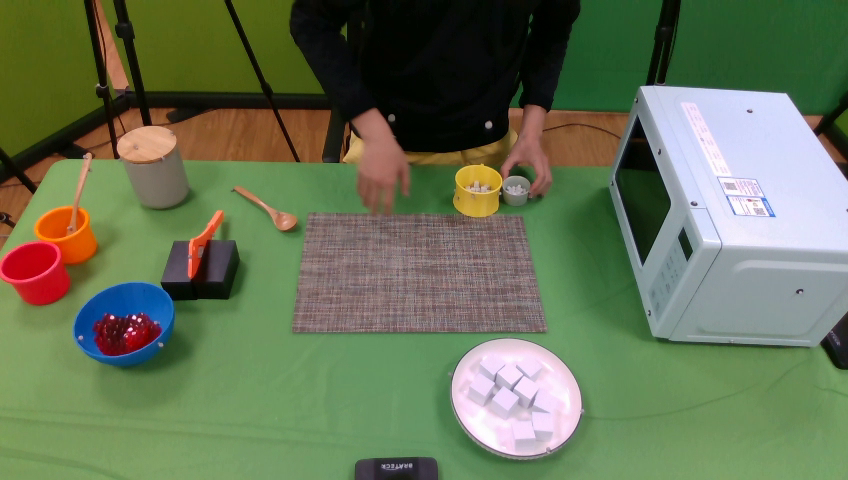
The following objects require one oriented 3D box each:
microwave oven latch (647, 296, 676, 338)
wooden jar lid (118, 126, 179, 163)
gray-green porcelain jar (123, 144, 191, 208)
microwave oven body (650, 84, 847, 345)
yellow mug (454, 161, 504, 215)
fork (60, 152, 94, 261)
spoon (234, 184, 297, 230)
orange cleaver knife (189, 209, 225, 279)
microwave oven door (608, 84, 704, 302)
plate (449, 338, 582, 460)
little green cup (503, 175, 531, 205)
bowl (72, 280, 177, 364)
[{"bbox_3d":[0.413,0.133,1.060,0.030,0.029,0.078,4,46,1],"label":"microwave oven latch"},{"bbox_3d":[-0.528,-0.181,1.167,0.108,0.021,0.107,4,48,-4],"label":"wooden jar lid"},{"bbox_3d":[-0.531,-0.137,1.213,0.106,0.127,0.105,2,47,-2],"label":"gray-green porcelain jar"},{"bbox_3d":[0.569,-0.054,1.116,0.326,0.261,0.439,2,46,-1],"label":"microwave oven body"},{"bbox_3d":[0.117,-0.119,1.283,0.100,0.064,0.130,9,44,5],"label":"yellow mug"},{"bbox_3d":[-0.638,-0.063,1.120,0.028,0.018,0.207,12,90,7],"label":"fork"},{"bbox_3d":[-0.327,-0.073,1.239,0.193,0.022,0.041,34,70,25],"label":"spoon"},{"bbox_3d":[-0.400,0.002,1.122,0.012,0.077,0.210,4,23,-4],"label":"orange cleaver knife"},{"bbox_3d":[0.424,-0.096,1.138,0.039,0.245,0.353,3,46,-1],"label":"microwave oven door"},{"bbox_3d":[0.141,0.251,0.956,0.208,0.039,0.206,2,46,-2],"label":"plate"},{"bbox_3d":[0.197,-0.105,1.297,0.061,0.039,0.061,3,42,-2],"label":"little green cup"},{"bbox_3d":[-0.472,0.147,0.982,0.151,0.077,0.150,2,46,-2],"label":"bowl"}]
